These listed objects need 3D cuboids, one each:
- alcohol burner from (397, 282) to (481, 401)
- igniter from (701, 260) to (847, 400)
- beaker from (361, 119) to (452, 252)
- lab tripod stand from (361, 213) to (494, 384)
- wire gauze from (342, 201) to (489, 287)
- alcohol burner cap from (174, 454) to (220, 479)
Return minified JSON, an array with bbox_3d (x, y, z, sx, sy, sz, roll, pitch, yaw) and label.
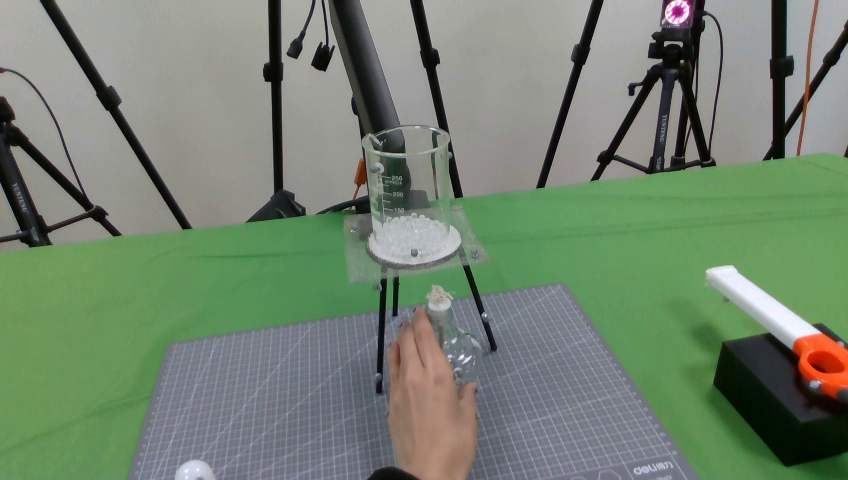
[{"bbox_3d":[0.013,0.086,0.545,0.078,0.120,0.077,-1,32,1],"label":"alcohol burner"},{"bbox_3d":[0.326,0.089,0.506,0.057,0.025,0.274,-9,27,-8],"label":"igniter"},{"bbox_3d":[-0.016,-0.047,0.530,0.074,0.101,0.083,-27,38,-36],"label":"beaker"},{"bbox_3d":[-0.005,0.050,0.590,0.148,0.132,0.147,-1,29,1],"label":"lab tripod stand"},{"bbox_3d":[-0.013,-0.004,0.553,0.121,0.011,0.124,-8,32,-6],"label":"wire gauze"},{"bbox_3d":[-0.174,0.186,0.467,0.034,0.048,0.033,-2,31,2],"label":"alcohol burner cap"}]
